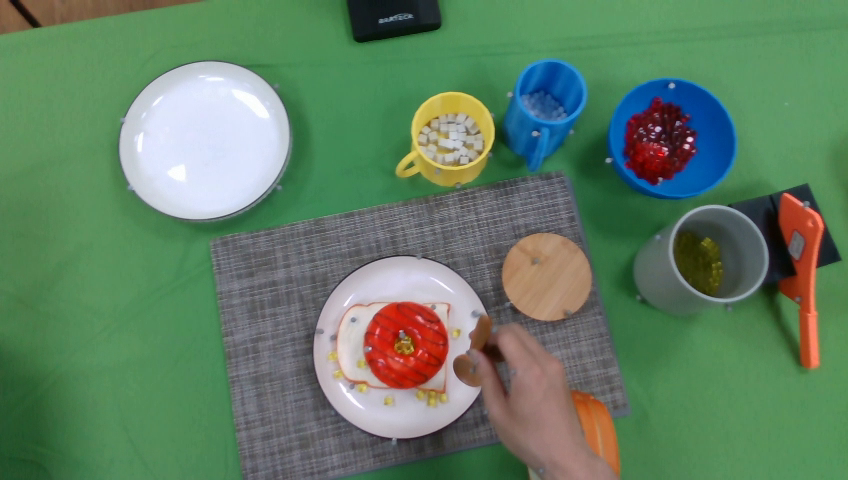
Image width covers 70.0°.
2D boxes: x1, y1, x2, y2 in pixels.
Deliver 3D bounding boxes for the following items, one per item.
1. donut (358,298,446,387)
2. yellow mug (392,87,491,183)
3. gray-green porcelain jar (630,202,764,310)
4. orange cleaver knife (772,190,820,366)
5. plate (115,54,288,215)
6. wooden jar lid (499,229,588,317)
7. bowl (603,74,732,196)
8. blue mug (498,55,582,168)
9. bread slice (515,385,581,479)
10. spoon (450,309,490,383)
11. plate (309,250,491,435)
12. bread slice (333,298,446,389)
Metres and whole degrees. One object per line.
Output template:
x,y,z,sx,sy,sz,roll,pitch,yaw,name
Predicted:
-0.024,0.113,0.675,0.099,0.048,0.098,1,79,-4,donut
0.016,-0.119,0.744,0.131,0.064,0.099,-33,80,-7,yellow mug
0.302,0.024,0.692,0.106,0.127,0.105,0,77,-2,gray-green porcelain jar
0.436,0.046,0.713,0.012,0.076,0.212,-14,108,-4,orange cleaver knife
-0.270,-0.128,0.752,0.208,0.039,0.206,0,78,-2,plate
0.144,0.040,0.734,0.108,0.021,0.108,0,79,-2,wooden jar lid
0.287,-0.117,0.746,0.151,0.077,0.150,0,78,-1,bowl
0.136,-0.146,0.734,0.082,0.106,0.116,9,78,1,blue mug
0.130,0.206,0.644,0.018,0.134,0.106,-4,76,-11,bread slice
0.047,0.106,0.583,0.041,0.195,0.021,32,70,13,spoon
-0.026,0.116,0.703,0.209,0.038,0.208,0,78,-1,plate
-0.040,0.118,0.705,0.132,0.019,0.104,3,77,-4,bread slice
